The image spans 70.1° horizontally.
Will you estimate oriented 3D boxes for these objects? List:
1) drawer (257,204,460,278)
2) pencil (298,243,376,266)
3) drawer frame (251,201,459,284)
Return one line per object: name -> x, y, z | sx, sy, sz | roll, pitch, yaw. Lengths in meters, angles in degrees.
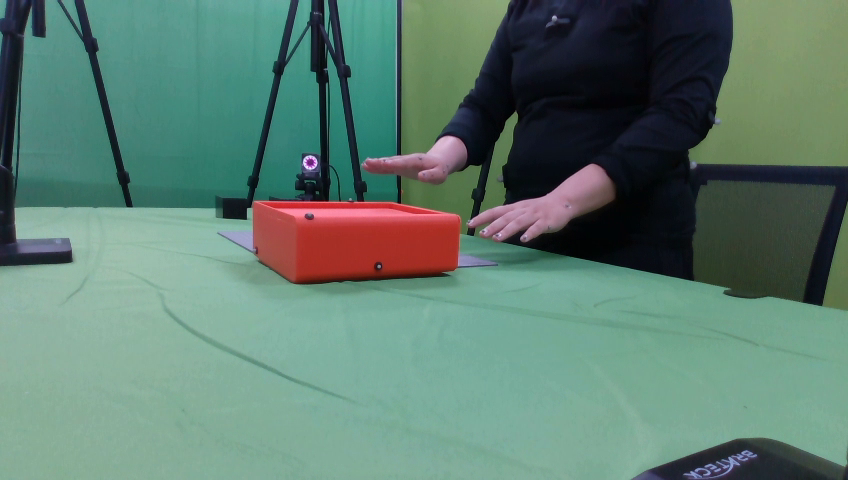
drawer -> -0.091, -0.004, 0.793 | 0.213, 0.073, 0.193 | -3, 10, -29
pencil -> -0.107, 0.017, 0.791 | 0.012, 0.012, 0.195 | 6, 8, 22
drawer frame -> -0.095, -0.005, 0.788 | 0.215, 0.082, 0.200 | -3, 10, -30
